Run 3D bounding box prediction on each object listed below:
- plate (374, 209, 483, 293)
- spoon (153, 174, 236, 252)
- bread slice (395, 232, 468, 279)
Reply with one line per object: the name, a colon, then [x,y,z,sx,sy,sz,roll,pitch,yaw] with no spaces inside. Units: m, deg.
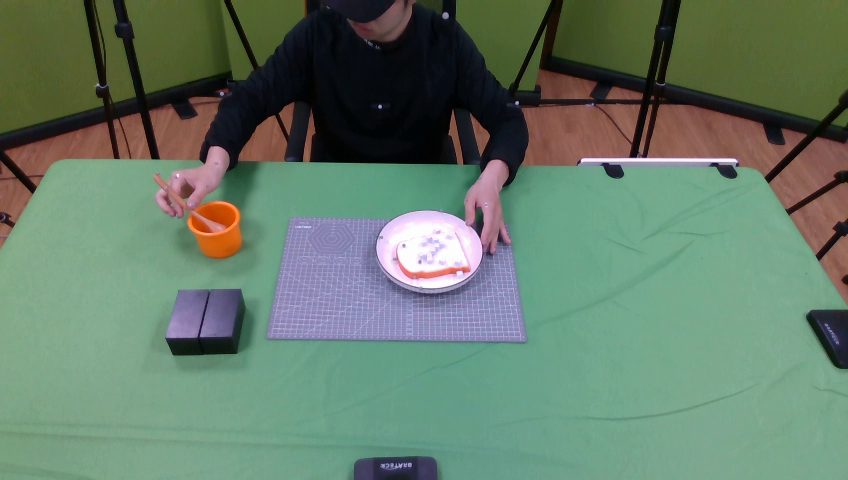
plate: [0.009,0.024,1.160,0.209,0.038,0.208,2,46,-2]
spoon: [-0.421,-0.049,1.114,0.194,0.021,0.041,44,46,-22]
bread slice: [0.011,0.030,1.158,0.132,0.019,0.104,-8,47,-14]
